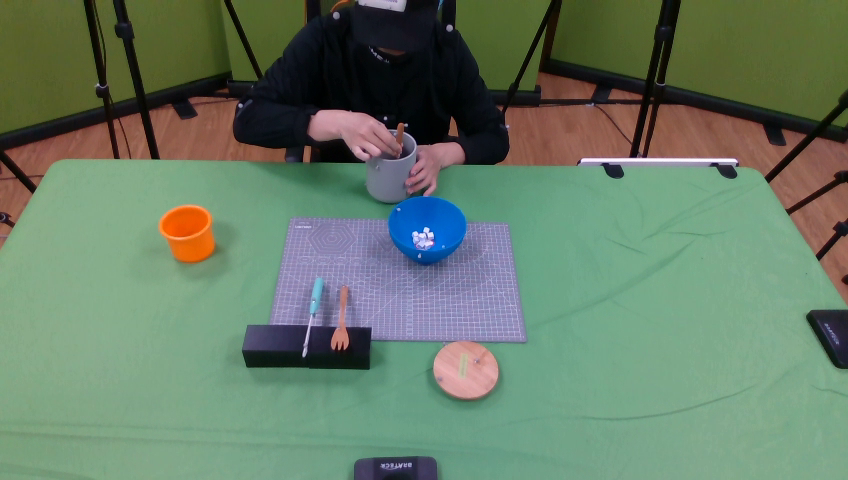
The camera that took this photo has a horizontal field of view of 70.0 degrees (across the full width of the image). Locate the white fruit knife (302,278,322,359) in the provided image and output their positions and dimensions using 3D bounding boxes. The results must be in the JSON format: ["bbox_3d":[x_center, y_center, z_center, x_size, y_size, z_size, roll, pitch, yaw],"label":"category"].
[{"bbox_3d":[-0.189,0.126,1.020,0.016,0.027,0.206,0,33,-3],"label":"white fruit knife"}]

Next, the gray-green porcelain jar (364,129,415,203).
[{"bbox_3d":[-0.073,-0.149,1.264,0.106,0.127,0.105,2,46,-2],"label":"gray-green porcelain jar"}]

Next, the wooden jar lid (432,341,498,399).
[{"bbox_3d":[0.067,0.216,0.997,0.108,0.021,0.107,1,46,-1],"label":"wooden jar lid"}]

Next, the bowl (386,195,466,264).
[{"bbox_3d":[0.003,-0.007,1.162,0.151,0.077,0.150,2,46,-2],"label":"bowl"}]

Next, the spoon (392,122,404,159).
[{"bbox_3d":[-0.060,-0.174,1.228,0.041,0.194,0.021,16,54,0],"label":"spoon"}]

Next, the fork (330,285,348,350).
[{"bbox_3d":[-0.140,0.127,1.021,0.028,0.019,0.206,-5,28,-2],"label":"fork"}]
